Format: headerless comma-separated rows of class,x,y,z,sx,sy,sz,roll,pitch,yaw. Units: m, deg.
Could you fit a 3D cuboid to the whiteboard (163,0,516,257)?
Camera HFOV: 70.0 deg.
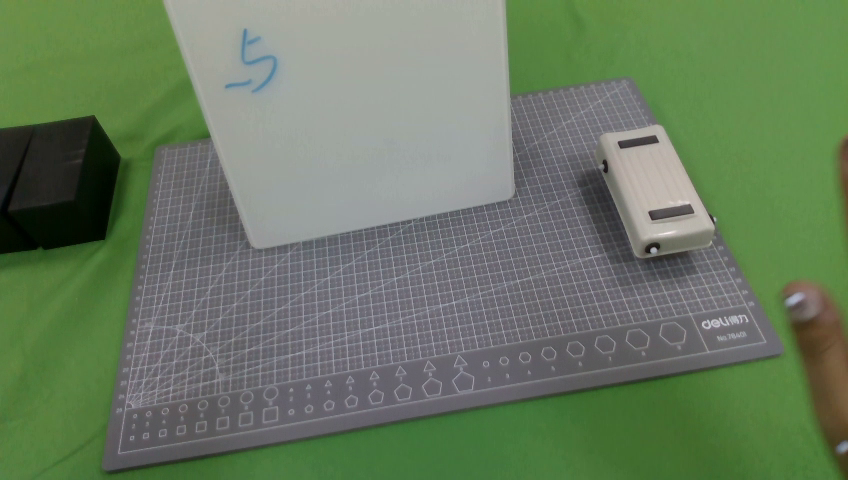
whiteboard,-0.059,-0.170,0.457,0.217,0.308,0.142,-11,34,-3

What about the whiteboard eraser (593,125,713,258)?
whiteboard eraser,0.173,-0.037,0.466,0.055,0.042,0.111,-8,53,-1
